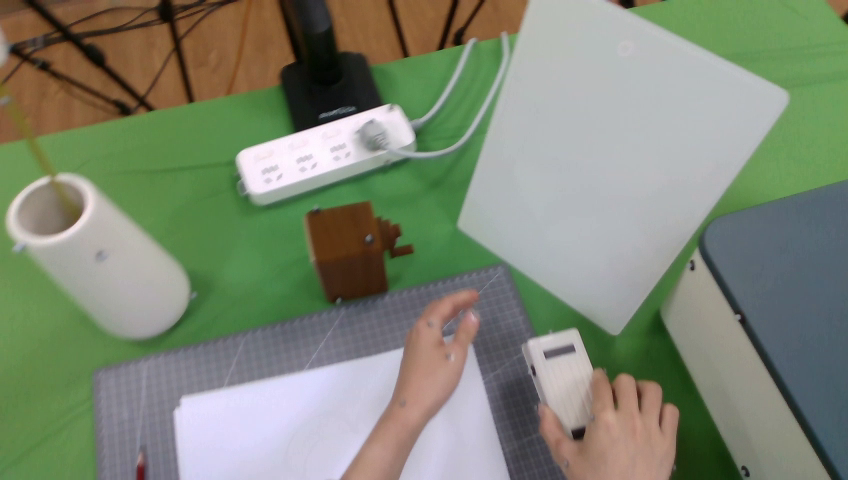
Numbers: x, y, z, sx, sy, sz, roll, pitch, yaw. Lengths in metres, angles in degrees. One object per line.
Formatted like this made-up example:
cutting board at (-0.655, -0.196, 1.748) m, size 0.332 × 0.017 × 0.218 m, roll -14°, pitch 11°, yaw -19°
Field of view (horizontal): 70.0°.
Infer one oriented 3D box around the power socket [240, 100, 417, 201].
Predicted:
power socket at (-0.114, -0.111, 0.738) m, size 0.227 × 0.033 × 0.071 m, roll -19°, pitch 64°, yaw -11°

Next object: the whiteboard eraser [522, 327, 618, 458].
whiteboard eraser at (0.134, 0.141, 0.566) m, size 0.056 × 0.042 × 0.111 m, roll -11°, pitch 64°, yaw -11°

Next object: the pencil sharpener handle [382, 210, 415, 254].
pencil sharpener handle at (-0.025, -0.008, 0.627) m, size 0.031 × 0.068 × 0.035 m, roll -12°, pitch 60°, yaw -7°

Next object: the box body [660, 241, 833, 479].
box body at (0.406, 0.140, 0.530) m, size 0.254 × 0.161 × 0.360 m, roll -15°, pitch 63°, yaw -8°

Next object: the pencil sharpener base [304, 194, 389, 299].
pencil sharpener base at (-0.075, 0.009, 0.632) m, size 0.077 × 0.108 × 0.061 m, roll -12°, pitch 62°, yaw -7°

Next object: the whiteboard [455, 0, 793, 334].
whiteboard at (0.192, -0.093, 0.610) m, size 0.216 × 0.307 × 0.144 m, roll 37°, pitch 49°, yaw 19°

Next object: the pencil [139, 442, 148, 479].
pencil at (-0.255, 0.278, 0.539) m, size 0.012 × 0.012 × 0.192 m, roll -8°, pitch 60°, yaw -4°

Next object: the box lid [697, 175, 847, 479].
box lid at (0.405, 0.101, 0.466) m, size 0.263 × 0.015 × 0.368 m, roll -15°, pitch 62°, yaw -8°

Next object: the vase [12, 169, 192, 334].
vase at (-0.298, 0.017, 0.575) m, size 0.098 × 0.201 × 0.097 m, roll -1°, pitch 61°, yaw 2°

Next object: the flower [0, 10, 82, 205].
flower at (-0.297, -0.040, 0.512) m, size 0.038 × 0.365 × 0.043 m, roll -26°, pitch 46°, yaw -21°

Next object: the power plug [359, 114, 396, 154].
power plug at (-0.055, -0.116, 0.714) m, size 0.035 × 0.053 × 0.072 m, roll -11°, pitch 63°, yaw -5°
